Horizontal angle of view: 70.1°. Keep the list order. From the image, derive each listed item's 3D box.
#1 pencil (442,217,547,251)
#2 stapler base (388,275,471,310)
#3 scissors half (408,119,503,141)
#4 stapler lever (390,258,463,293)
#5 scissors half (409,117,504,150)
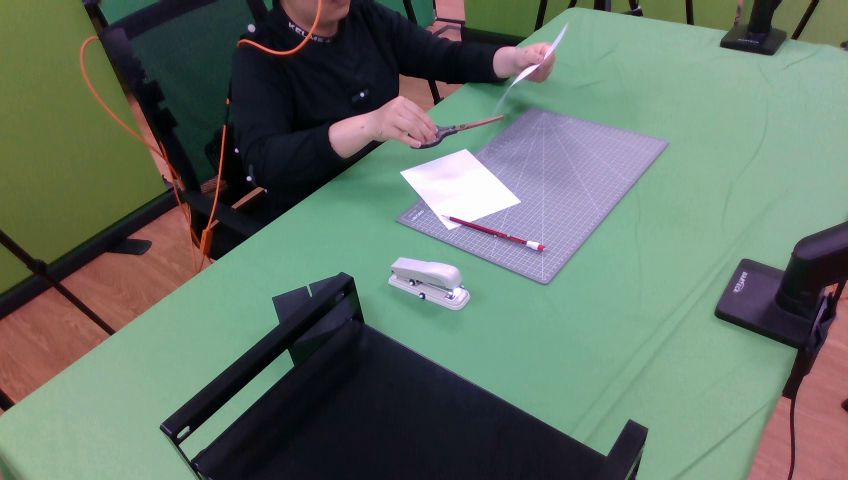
[{"bbox_3d":[0.110,-0.012,0.979,0.192,0.012,0.012,18,46,30],"label":"pencil"},{"bbox_3d":[0.007,0.066,0.897,0.129,0.024,0.041,17,44,29],"label":"stapler base"},{"bbox_3d":[0.057,-0.201,1.081,0.175,0.013,0.040,-8,34,7],"label":"scissors half"},{"bbox_3d":[0.002,0.046,0.881,0.117,0.040,0.027,17,44,29],"label":"stapler lever"},{"bbox_3d":[0.058,-0.189,1.064,0.175,0.013,0.040,-19,39,-6],"label":"scissors half"}]
